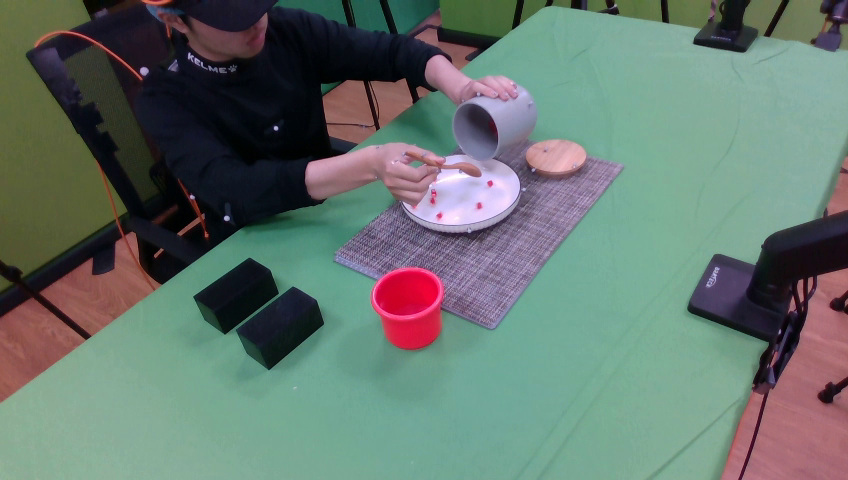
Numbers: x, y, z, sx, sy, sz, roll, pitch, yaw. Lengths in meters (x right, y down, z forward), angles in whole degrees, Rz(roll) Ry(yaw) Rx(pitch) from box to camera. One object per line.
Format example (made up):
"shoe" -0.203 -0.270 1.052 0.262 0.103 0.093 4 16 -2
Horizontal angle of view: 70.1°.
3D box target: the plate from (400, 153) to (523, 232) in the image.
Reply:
"plate" 0.065 -0.078 1.034 0.207 0.039 0.206 -4 41 4

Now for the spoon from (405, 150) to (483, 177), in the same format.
"spoon" 0.033 -0.118 0.949 0.041 0.021 0.195 14 8 36

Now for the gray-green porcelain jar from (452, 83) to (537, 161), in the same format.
"gray-green porcelain jar" 0.128 -0.210 1.053 0.105 0.106 0.127 26 44 33

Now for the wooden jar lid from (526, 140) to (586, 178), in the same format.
"wooden jar lid" 0.240 -0.147 1.103 0.108 0.021 0.108 -4 42 4
